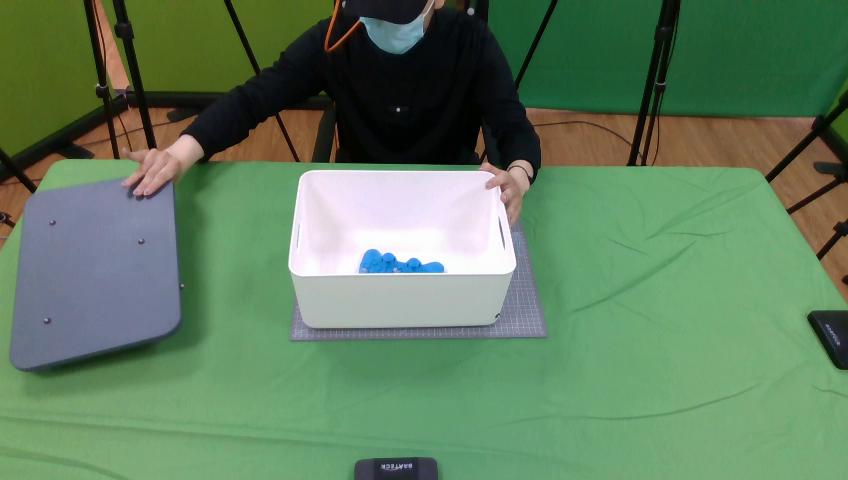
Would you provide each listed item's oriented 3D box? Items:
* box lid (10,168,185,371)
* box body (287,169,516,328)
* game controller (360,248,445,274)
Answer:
[{"bbox_3d":[-0.554,0.034,1.040,0.263,0.015,0.369,-13,56,-9],"label":"box lid"},{"bbox_3d":[-0.040,0.015,1.075,0.364,0.161,0.252,-1,47,-4],"label":"box body"},{"bbox_3d":[-0.043,0.056,1.108,0.155,0.052,0.096,11,52,8],"label":"game controller"}]
